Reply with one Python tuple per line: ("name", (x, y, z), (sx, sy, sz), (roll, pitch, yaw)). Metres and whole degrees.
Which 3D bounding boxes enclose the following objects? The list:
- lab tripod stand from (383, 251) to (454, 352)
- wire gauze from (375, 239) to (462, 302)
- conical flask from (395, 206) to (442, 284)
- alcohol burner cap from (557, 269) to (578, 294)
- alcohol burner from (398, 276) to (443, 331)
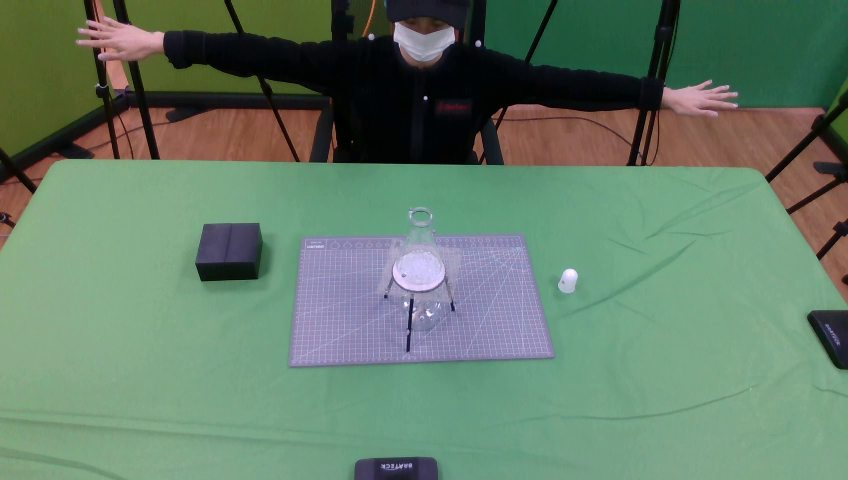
("lab tripod stand", (-0.016, 0.094, 1.025), (0.148, 0.132, 0.147), (1, 46, -1))
("wire gauze", (-0.006, 0.049, 0.977), (0.121, 0.011, 0.124), (10, 44, 5))
("conical flask", (-0.007, 0.005, 0.937), (0.075, 0.122, 0.075), (2, 45, -1))
("alcohol burner cap", (0.270, 0.074, 1.135), (0.034, 0.048, 0.033), (2, 46, -2))
("alcohol burner", (-0.005, 0.100, 1.033), (0.078, 0.119, 0.077), (3, 48, -3))
